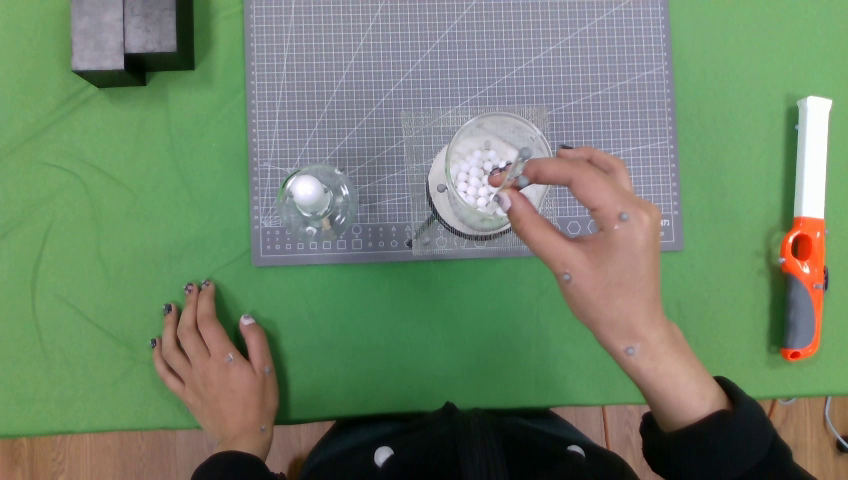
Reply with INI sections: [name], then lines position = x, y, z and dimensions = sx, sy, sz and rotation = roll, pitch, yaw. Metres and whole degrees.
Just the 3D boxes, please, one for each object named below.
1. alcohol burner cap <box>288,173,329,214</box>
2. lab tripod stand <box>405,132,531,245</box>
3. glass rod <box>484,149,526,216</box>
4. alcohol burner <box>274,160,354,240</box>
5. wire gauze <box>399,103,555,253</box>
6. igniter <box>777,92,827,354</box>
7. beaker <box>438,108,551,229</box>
[alcohol burner cap]
position = -0.104, -0.042, 0.535
dimensions = 0.034, 0.048, 0.034
rotation = 0, 82, 0
[lab tripod stand]
position = 0.041, -0.044, 0.568
dimensions = 0.148, 0.131, 0.148
rotation = 0, 86, 0
[glass rod]
position = 0.051, -0.032, 0.400
dimensions = 0.008, 0.200, 0.008
rotation = 0, 84, 1
[alcohol burner]
position = -0.106, -0.040, 0.571
dimensions = 0.078, 0.119, 0.077
rotation = 0, 84, -3
[wire gauze]
position = 0.044, -0.052, 0.502
dimensions = 0.125, 0.011, 0.121
rotation = -3, 85, 0
[igniter]
position = 0.399, -0.018, 0.637
dimensions = 0.057, 0.025, 0.276
rotation = 6, 87, -13
[beaker]
position = 0.049, -0.045, 0.454
dimensions = 0.074, 0.100, 0.084
rotation = -35, 87, -4
